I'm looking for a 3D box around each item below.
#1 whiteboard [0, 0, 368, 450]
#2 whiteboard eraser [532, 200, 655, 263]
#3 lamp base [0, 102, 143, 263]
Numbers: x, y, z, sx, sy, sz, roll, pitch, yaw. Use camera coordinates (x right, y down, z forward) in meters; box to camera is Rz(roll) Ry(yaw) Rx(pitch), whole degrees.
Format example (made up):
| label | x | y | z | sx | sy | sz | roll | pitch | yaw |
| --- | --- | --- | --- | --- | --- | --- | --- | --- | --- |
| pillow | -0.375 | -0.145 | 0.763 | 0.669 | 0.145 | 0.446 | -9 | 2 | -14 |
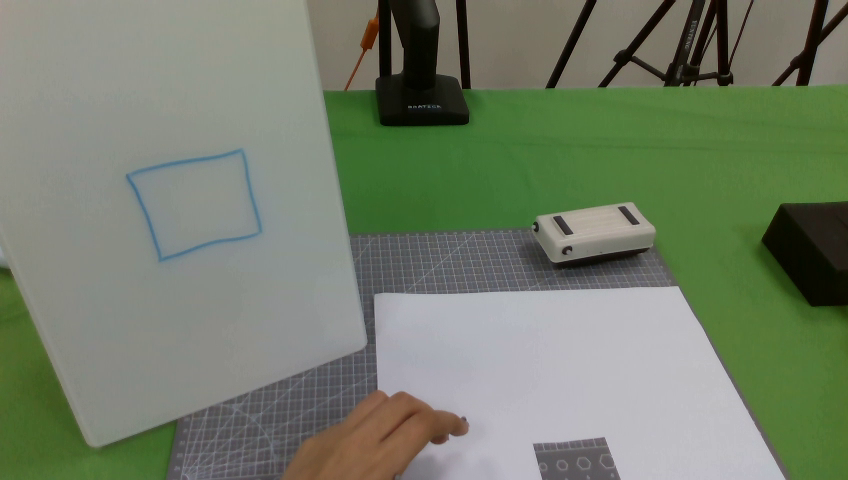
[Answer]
| label | x | y | z | sx | sy | sz | roll | pitch | yaw |
| --- | --- | --- | --- | --- | --- | --- | --- | --- | --- |
| whiteboard | -0.188 | -0.039 | 0.467 | 0.218 | 0.307 | 0.142 | -17 | 26 | -21 |
| whiteboard eraser | 0.171 | -0.007 | 0.615 | 0.113 | 0.042 | 0.055 | -8 | 44 | -14 |
| lamp base | -0.376 | -0.096 | 0.563 | 0.178 | 0.182 | 0.160 | 25 | 45 | 25 |
